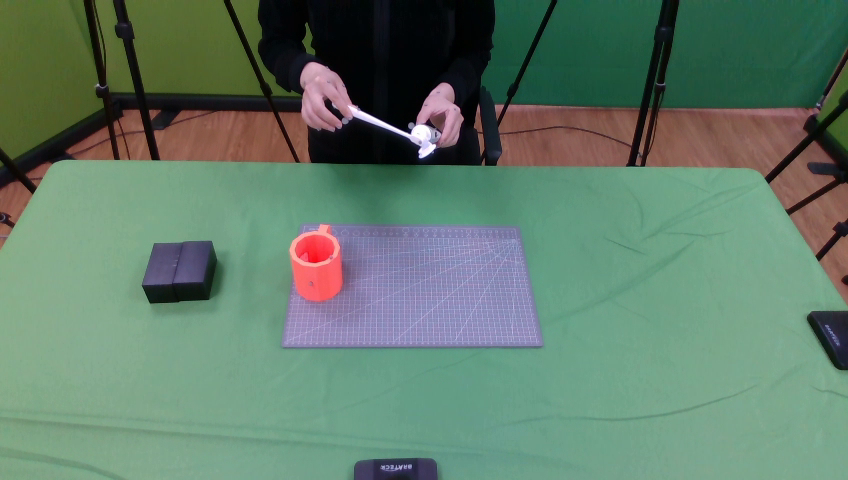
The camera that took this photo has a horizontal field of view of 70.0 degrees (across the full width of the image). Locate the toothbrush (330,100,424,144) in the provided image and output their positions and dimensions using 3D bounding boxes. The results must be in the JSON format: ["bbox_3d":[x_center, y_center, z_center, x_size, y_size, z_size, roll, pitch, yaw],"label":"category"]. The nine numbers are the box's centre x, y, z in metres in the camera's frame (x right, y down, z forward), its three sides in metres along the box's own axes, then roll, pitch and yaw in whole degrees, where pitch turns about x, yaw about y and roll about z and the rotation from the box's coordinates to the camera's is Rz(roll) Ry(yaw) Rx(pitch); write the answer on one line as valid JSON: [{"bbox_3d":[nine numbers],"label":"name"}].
[{"bbox_3d":[-0.080,-0.199,1.014,0.181,0.014,0.016,25,38,16],"label":"toothbrush"}]

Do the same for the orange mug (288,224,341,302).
[{"bbox_3d":[-0.192,0.034,1.094,0.083,0.101,0.125,7,50,2],"label":"orange mug"}]

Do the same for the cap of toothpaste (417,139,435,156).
[{"bbox_3d":[0.002,-0.153,0.997,0.037,0.011,0.037,-34,24,17],"label":"cap of toothpaste"}]

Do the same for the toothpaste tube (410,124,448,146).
[{"bbox_3d":[0.007,-0.190,1.079,0.055,0.034,0.165,33,18,2],"label":"toothpaste tube"}]
